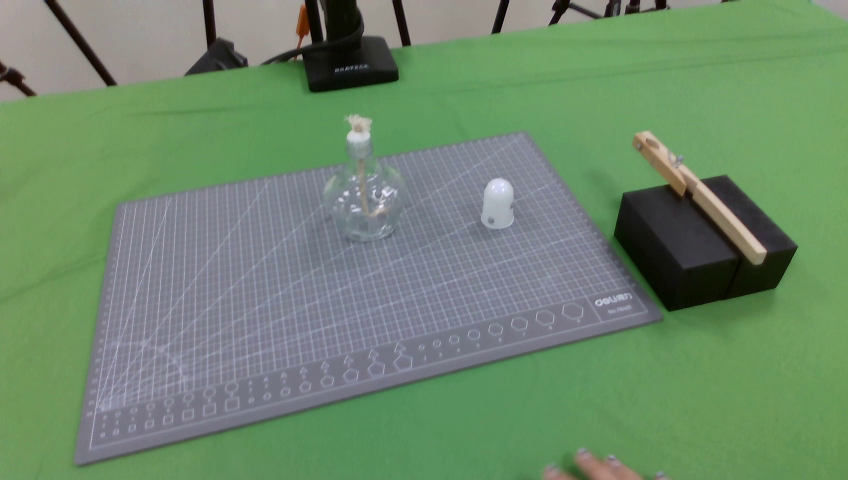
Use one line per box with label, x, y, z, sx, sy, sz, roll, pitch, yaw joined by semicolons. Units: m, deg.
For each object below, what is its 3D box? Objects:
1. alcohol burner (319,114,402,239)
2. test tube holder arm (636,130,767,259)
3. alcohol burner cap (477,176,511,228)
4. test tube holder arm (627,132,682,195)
alcohol burner;-0.060;-0.060;0.551;0.078;0.120;0.077;-2;41;2
test tube holder arm;0.234;-0.046;0.529;0.013;0.015;0.176;-22;45;-6
alcohol burner cap;0.067;-0.038;0.576;0.034;0.048;0.033;-2;42;2
test tube holder arm;0.215;-0.072;0.560;0.010;0.015;0.087;-21;45;-5
